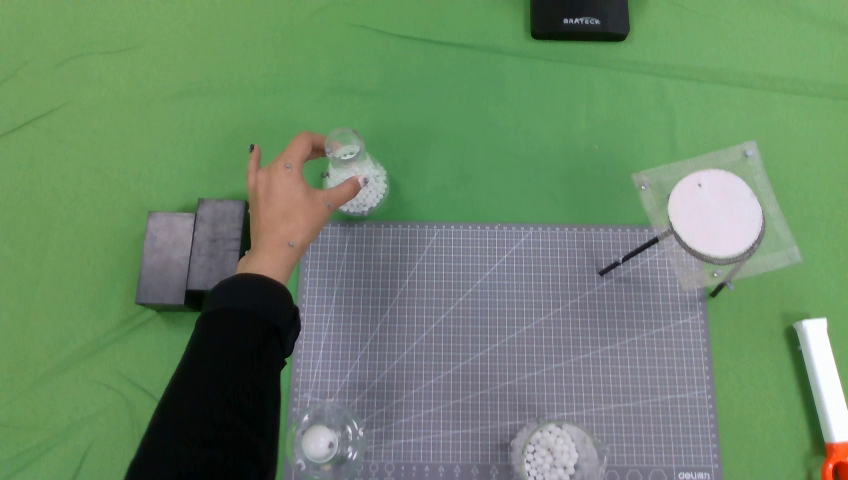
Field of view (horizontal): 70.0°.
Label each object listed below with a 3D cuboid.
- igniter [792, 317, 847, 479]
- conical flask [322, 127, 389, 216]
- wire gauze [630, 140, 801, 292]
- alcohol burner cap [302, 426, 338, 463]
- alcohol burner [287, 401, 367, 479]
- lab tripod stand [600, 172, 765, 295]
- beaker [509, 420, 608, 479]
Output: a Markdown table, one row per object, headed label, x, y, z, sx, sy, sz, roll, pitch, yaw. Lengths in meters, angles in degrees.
| label | x | y | z | sx | sy | sz | roll | pitch | yaw |
| --- | --- | --- | --- | --- | --- | --- | --- | --- | --- |
| igniter | 0.428 | 0.217 | 0.620 | 0.057 | 0.025 | 0.275 | -3 | 75 | -12 |
| conical flask | -0.077 | -0.076 | 0.630 | 0.075 | 0.122 | 0.075 | 0 | 76 | -1 |
| wire gauze | 0.269 | -0.023 | 0.558 | 0.125 | 0.011 | 0.121 | -15 | 77 | -4 |
| alcohol burner cap | -0.094 | 0.181 | 0.541 | 0.034 | 0.048 | 0.033 | 3 | 67 | -6 |
| alcohol burner | -0.094 | 0.192 | 0.576 | 0.078 | 0.119 | 0.077 | 1 | 73 | -2 |
| lab tripod stand | 0.267 | -0.001 | 0.622 | 0.148 | 0.132 | 0.147 | 0 | 76 | -1 |
| beaker | 0.124 | 0.209 | 0.580 | 0.084 | 0.101 | 0.073 | -17 | 75 | -5 |
